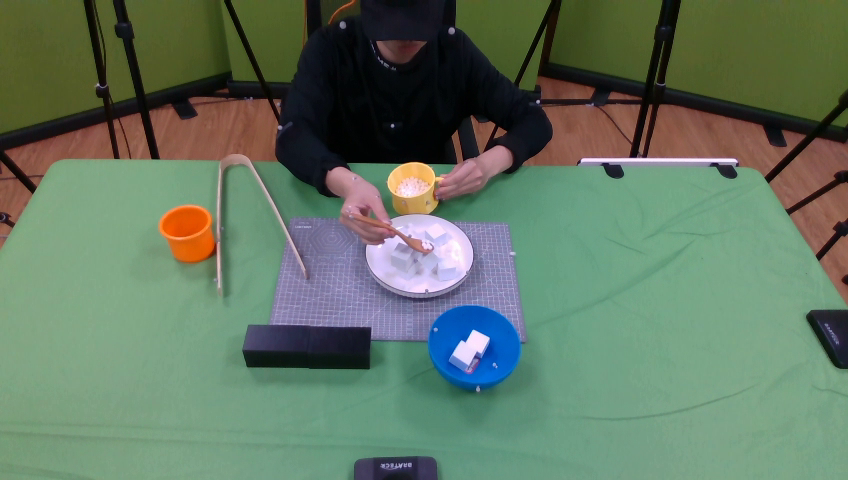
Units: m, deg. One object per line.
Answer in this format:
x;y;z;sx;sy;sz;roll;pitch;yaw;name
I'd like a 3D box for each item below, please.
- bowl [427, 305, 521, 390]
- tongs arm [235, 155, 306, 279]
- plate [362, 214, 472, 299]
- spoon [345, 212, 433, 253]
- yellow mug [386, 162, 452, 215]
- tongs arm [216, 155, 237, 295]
0.076;0.188;0.985;0.151;0.077;0.150;3;46;-3;bowl
-0.312;-0.058;1.225;0.028;0.028;0.385;-22;51;-19;tongs arm
-0.013;0.034;1.150;0.208;0.039;0.206;2;46;-2;plate
-0.057;-0.015;1.036;0.195;0.021;0.041;27;21;-41;spoon
-0.008;-0.106;1.252;0.131;0.064;0.099;-6;52;4;yellow mug
-0.388;-0.043;1.201;0.051;0.026;0.382;-9;46;-13;tongs arm
